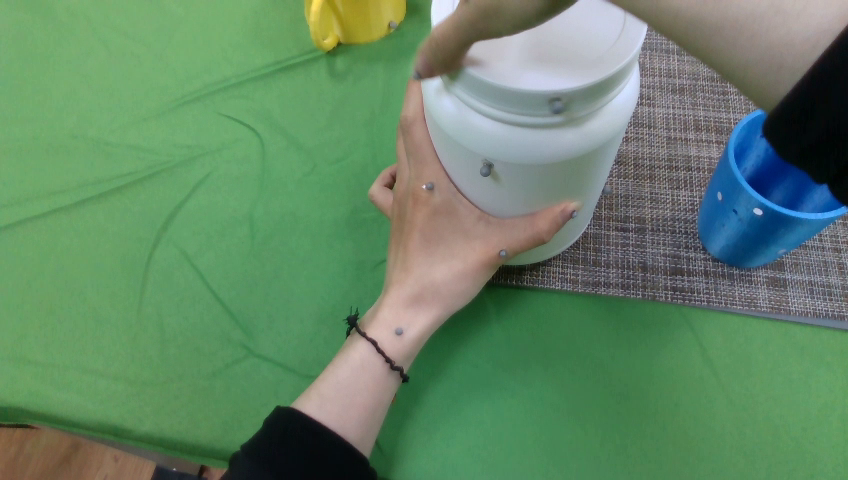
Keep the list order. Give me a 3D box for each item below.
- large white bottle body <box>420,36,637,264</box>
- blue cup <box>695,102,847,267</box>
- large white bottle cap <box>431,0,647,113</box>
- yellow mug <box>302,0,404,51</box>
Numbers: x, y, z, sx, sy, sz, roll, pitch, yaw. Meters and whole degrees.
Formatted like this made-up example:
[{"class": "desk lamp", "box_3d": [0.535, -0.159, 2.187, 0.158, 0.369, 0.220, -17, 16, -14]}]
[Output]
[{"class": "large white bottle body", "box_3d": [0.063, -0.078, 0.404, 0.130, 0.186, 0.129, -1, 62, 2]}, {"class": "blue cup", "box_3d": [0.234, -0.029, 0.418, 0.092, 0.101, 0.092, -2, 62, 4]}, {"class": "large white bottle cap", "box_3d": [0.061, -0.119, 0.326, 0.115, 0.018, 0.114, -1, 63, 2]}, {"class": "yellow mug", "box_3d": [-0.076, -0.231, 0.559, 0.099, 0.064, 0.130, 18, 66, 11]}]
